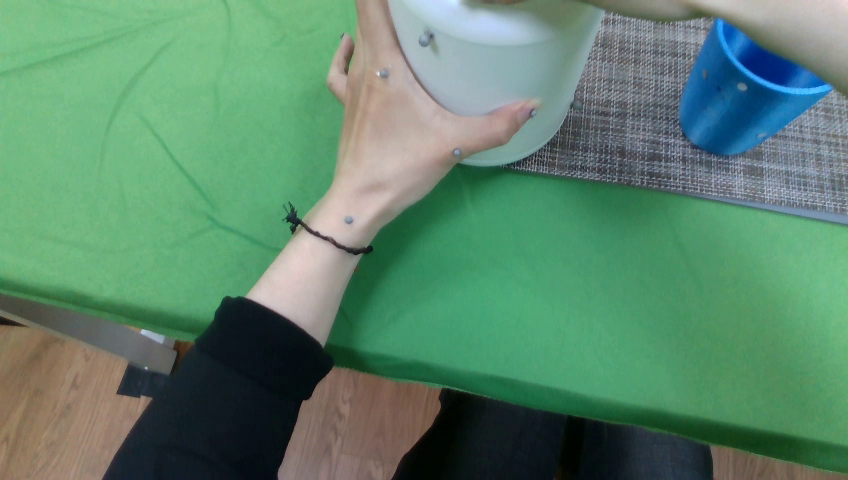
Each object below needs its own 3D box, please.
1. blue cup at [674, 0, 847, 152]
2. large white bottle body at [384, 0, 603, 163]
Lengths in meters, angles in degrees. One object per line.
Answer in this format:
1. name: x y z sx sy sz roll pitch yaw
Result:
1. blue cup: 0.215 -0.109 0.407 0.092 0.101 0.092 0 70 1
2. large white bottle body: 0.040 -0.145 0.374 0.130 0.186 0.129 0 69 0
